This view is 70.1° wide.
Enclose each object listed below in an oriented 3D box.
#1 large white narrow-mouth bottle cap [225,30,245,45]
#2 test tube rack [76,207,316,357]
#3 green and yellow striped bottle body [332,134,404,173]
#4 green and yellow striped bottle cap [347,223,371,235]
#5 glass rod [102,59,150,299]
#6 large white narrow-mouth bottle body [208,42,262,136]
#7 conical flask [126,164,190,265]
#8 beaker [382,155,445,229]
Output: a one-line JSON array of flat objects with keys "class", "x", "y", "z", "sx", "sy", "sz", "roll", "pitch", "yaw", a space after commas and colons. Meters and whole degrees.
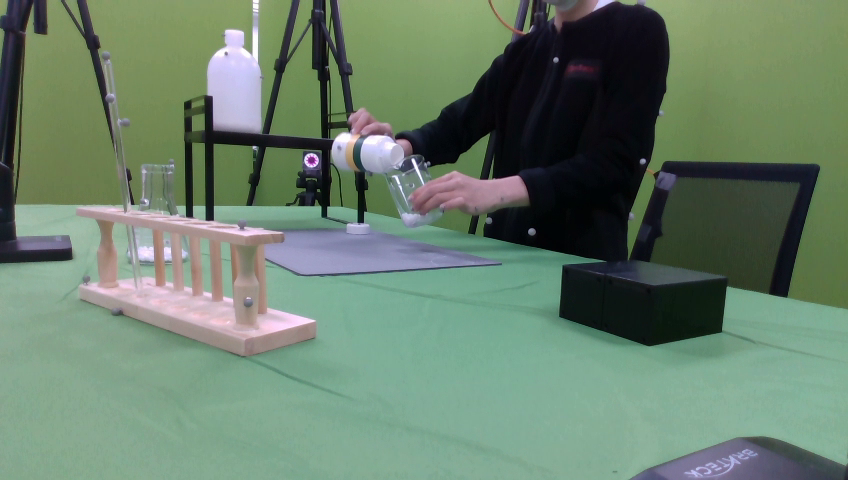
[{"class": "large white narrow-mouth bottle cap", "x": -0.365, "y": -0.390, "z": 1.166, "sx": 0.038, "sy": 0.024, "sz": 0.037, "roll": 2, "pitch": 9, "yaw": 0}, {"class": "test tube rack", "x": -0.196, "y": 0.023, "z": 0.500, "sx": 0.241, "sy": 0.085, "sz": 0.067, "roll": 8, "pitch": 9, "yaw": 36}, {"class": "green and yellow striped bottle body", "x": -0.091, "y": -0.145, "z": 1.014, "sx": 0.119, "sy": 0.063, "sz": 0.063, "roll": 9, "pitch": 10, "yaw": 34}, {"class": "green and yellow striped bottle cap", "x": -0.122, "y": -0.021, "z": 1.132, "sx": 0.045, "sy": 0.020, "sz": 0.045, "roll": 0, "pitch": 8, "yaw": 0}, {"class": "glass rod", "x": -0.243, "y": -0.045, "z": 0.496, "sx": 0.008, "sy": 0.199, "sz": 0.008, "roll": -4, "pitch": 13, "yaw": 1}, {"class": "large white narrow-mouth bottle body", "x": -0.368, "y": -0.304, "z": 1.181, "sx": 0.102, "sy": 0.194, "sz": 0.101, "roll": 2, "pitch": 9, "yaw": 0}, {"class": "conical flask", "x": -0.332, "y": -0.033, "z": 0.756, "sx": 0.075, "sy": 0.122, "sz": 0.075, "roll": 2, "pitch": 7, "yaw": 0}, {"class": "beaker", "x": -0.015, "y": -0.075, "z": 0.960, "sx": 0.074, "sy": 0.100, "sz": 0.084, "roll": -25, "pitch": -10, "yaw": 12}]
